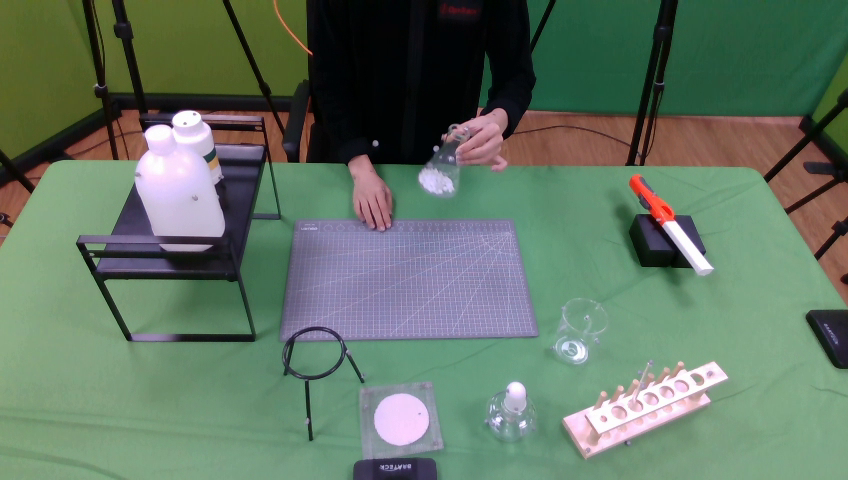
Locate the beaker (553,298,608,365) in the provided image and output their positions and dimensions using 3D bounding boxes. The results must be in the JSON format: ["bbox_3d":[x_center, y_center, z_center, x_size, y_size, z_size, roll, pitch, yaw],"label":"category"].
[{"bbox_3d":[0.260,0.154,1.014,0.073,0.101,0.084,37,54,27],"label":"beaker"}]

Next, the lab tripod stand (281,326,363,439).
[{"bbox_3d":[-0.166,0.203,0.913,0.148,0.132,0.147,1,47,-1],"label":"lab tripod stand"}]

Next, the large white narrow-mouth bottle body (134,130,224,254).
[{"bbox_3d":[-0.358,-0.075,0.875,0.102,0.195,0.101,1,48,-1],"label":"large white narrow-mouth bottle body"}]

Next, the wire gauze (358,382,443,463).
[{"bbox_3d":[-0.039,0.277,0.937,0.121,0.011,0.124,-4,47,-7],"label":"wire gauze"}]

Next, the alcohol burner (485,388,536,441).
[{"bbox_3d":[0.131,0.249,0.904,0.078,0.120,0.077,1,48,-1],"label":"alcohol burner"}]

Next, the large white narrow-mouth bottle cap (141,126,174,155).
[{"bbox_3d":[-0.356,-0.134,0.811,0.038,0.024,0.037,2,48,-2],"label":"large white narrow-mouth bottle cap"}]

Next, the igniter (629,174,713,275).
[{"bbox_3d":[0.481,-0.040,1.202,0.057,0.025,0.274,-2,46,-21],"label":"igniter"}]

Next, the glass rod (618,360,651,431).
[{"bbox_3d":[0.298,0.227,0.865,0.008,0.201,0.008,-1,48,2],"label":"glass rod"}]

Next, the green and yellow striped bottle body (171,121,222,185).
[{"bbox_3d":[-0.375,-0.149,0.995,0.063,0.120,0.063,2,46,-2],"label":"green and yellow striped bottle body"}]

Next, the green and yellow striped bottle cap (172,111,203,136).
[{"bbox_3d":[-0.374,-0.185,0.958,0.045,0.020,0.045,4,46,-4],"label":"green and yellow striped bottle cap"}]

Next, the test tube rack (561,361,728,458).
[{"bbox_3d":[0.341,0.248,0.940,0.243,0.085,0.066,-15,49,-18],"label":"test tube rack"}]

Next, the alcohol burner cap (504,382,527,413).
[{"bbox_3d":[0.133,0.225,0.877,0.034,0.048,0.033,-4,47,4],"label":"alcohol burner cap"}]

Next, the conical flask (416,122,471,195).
[{"bbox_3d":[0.039,-0.141,1.029,0.075,0.122,0.075,15,42,-14],"label":"conical flask"}]
